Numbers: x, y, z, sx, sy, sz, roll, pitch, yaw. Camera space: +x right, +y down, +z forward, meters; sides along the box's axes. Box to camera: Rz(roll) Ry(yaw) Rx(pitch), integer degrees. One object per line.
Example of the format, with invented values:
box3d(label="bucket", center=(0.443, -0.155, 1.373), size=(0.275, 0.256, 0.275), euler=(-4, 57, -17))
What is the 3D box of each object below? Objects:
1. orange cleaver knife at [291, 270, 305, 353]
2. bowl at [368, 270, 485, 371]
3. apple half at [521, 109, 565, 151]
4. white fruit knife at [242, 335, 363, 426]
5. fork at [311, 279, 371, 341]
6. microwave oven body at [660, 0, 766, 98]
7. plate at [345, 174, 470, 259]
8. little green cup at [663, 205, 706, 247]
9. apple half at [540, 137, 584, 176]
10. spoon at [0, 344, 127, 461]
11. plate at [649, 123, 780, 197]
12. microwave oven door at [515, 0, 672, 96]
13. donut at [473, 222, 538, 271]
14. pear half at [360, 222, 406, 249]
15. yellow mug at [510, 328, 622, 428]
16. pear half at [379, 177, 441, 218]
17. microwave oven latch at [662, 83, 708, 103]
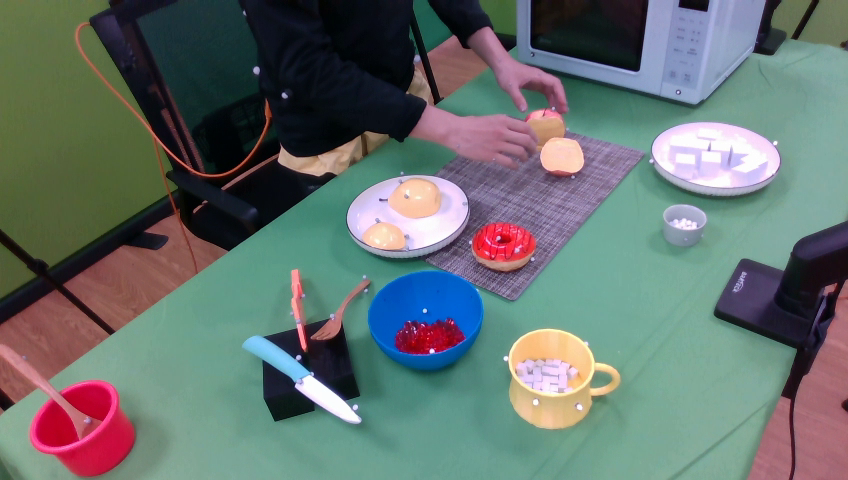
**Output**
box3d(label="orange cleaver knife", center=(-0.175, 0.094, 0.844), size=(0.012, 0.077, 0.210), euler=(-11, 14, -10))
box3d(label="bowl", center=(0.007, 0.118, 0.791), size=(0.151, 0.077, 0.150), euler=(-5, 40, 4))
box3d(label="apple half", center=(0.224, -0.212, 1.145), size=(0.080, 0.075, 0.053), euler=(-6, 36, 9))
box3d(label="white fruit knife", center=(-0.148, 0.166, 0.730), size=(0.206, 0.016, 0.027), euler=(26, 80, 31))
box3d(label="fork", center=(-0.108, 0.092, 0.832), size=(0.028, 0.019, 0.207), euler=(-6, 19, 15))
box3d(label="microwave oven body", center=(0.472, -0.513, 1.317), size=(0.438, 0.261, 0.327), euler=(26, 51, 34))
box3d(label="plate", center=(-0.026, -0.036, 1.004), size=(0.209, 0.038, 0.208), euler=(-4, 40, 4))
box3d(label="little green cup", center=(0.396, -0.021, 0.926), size=(0.061, 0.039, 0.061), euler=(-4, 40, 4))
box3d(label="apple half", center=(0.247, -0.146, 1.088), size=(0.081, 0.033, 0.081), euler=(-1, 65, 3))
box3d(label="spoon", center=(-0.433, 0.191, 0.721), size=(0.194, 0.021, 0.042), euler=(47, 53, -6))
box3d(label="plate", center=(0.497, -0.135, 1.046), size=(0.207, 0.039, 0.206), euler=(-4, 40, 4))
box3d(label="microwave oven door", center=(0.344, -0.455, 1.259), size=(0.353, 0.245, 0.039), euler=(26, 51, 33))
box3d(label="donut", center=(0.123, 0.009, 0.923), size=(0.099, 0.048, 0.098), euler=(-3, 38, 3))
box3d(label="pear half", center=(-0.064, -0.013, 0.960), size=(0.071, 0.031, 0.087), euler=(5, 24, -22))
box3d(label="yellow mug", center=(0.168, 0.164, 0.722), size=(0.130, 0.064, 0.099), euler=(0, 40, 8))
box3d(label="pear half", center=(-0.029, -0.079, 1.033), size=(0.109, 0.056, 0.076), euler=(-3, 35, 16))
box3d(label="microwave oven latch", center=(0.518, -0.297, 1.204), size=(0.078, 0.029, 0.030), euler=(28, 52, 35))
